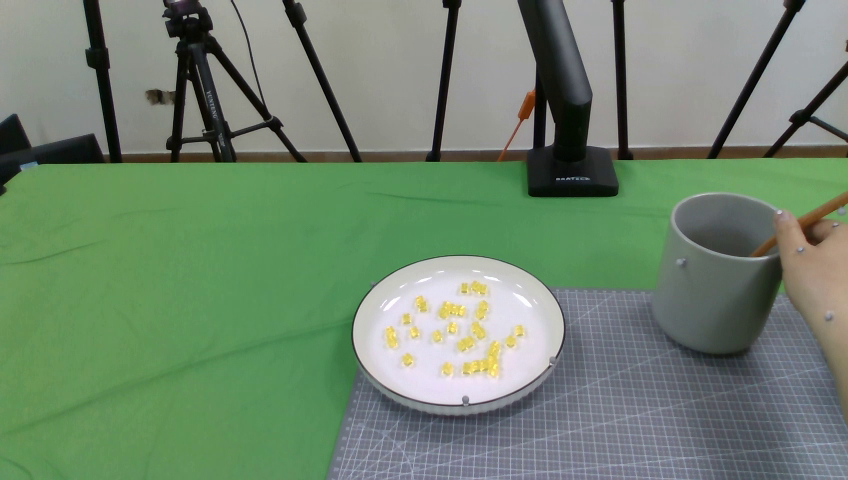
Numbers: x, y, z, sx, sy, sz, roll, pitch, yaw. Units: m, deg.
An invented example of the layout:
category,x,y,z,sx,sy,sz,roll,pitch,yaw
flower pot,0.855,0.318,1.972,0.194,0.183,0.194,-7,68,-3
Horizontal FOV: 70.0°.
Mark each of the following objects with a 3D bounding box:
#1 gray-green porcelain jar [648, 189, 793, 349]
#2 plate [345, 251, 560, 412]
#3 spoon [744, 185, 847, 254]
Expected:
category,x,y,z,sx,sy,sz,roll,pitch,yaw
gray-green porcelain jar,0.274,0.032,0.576,0.106,0.127,0.105,-3,37,3
plate,0.028,0.089,0.599,0.207,0.039,0.205,-2,37,2
spoon,0.301,0.006,0.536,0.041,0.194,0.021,-27,70,-43
